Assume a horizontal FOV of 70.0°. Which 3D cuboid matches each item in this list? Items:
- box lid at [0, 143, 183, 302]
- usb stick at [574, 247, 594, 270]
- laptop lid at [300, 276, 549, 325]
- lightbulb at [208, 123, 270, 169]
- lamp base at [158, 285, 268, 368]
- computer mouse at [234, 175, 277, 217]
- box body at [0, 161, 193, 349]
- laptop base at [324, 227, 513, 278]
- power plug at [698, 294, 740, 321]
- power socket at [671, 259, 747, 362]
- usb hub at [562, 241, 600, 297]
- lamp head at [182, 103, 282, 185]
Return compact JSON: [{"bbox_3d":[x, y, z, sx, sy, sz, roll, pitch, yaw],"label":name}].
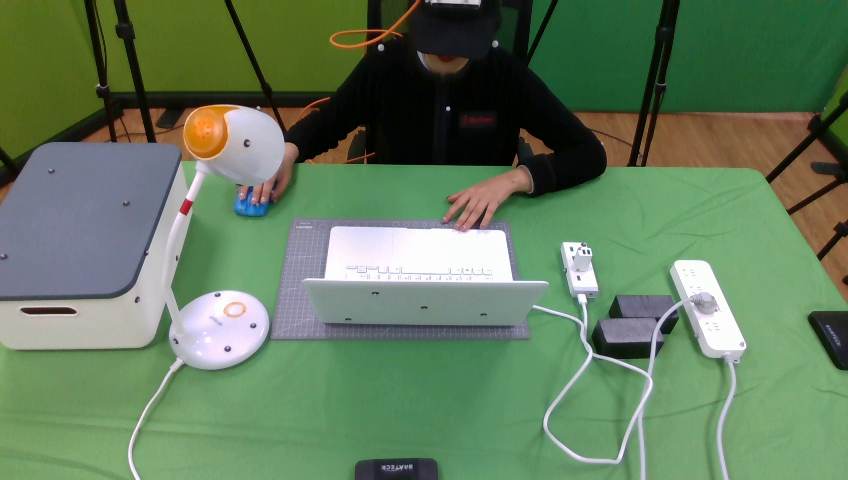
[{"bbox_3d":[-0.567,-0.045,0.999,0.263,0.015,0.369,-1,46,-4],"label":"box lid"},{"bbox_3d":[0.298,0.040,1.135,0.027,0.059,0.021,2,46,-4],"label":"usb stick"},{"bbox_3d":[-0.002,0.100,0.947,0.357,0.242,0.013,1,67,-4],"label":"laptop lid"},{"bbox_3d":[-0.260,-0.136,0.848,0.059,0.108,0.059,-4,77,21],"label":"lightbulb"},{"bbox_3d":[-0.348,0.102,0.963,0.160,0.181,0.178,23,51,18],"label":"lamp base"},{"bbox_3d":[-0.349,-0.097,1.259,0.063,0.041,0.116,9,49,1],"label":"computer mouse"},{"bbox_3d":[-0.570,0.006,1.054,0.254,0.161,0.361,-1,46,-4],"label":"box body"},{"bbox_3d":[-0.009,0.063,1.137,0.354,0.023,0.234,1,42,-3],"label":"laptop base"},{"bbox_3d":[0.515,0.127,1.070,0.035,0.053,0.072,-18,56,-7],"label":"power plug"},{"bbox_3d":[0.517,0.119,1.108,0.072,0.033,0.225,0,46,-2],"label":"power socket"},{"bbox_3d":[0.300,0.055,1.162,0.049,0.025,0.124,2,46,-3],"label":"usb hub"},{"bbox_3d":[-0.271,-0.133,0.825,0.112,0.112,0.123,20,8,15],"label":"lamp head"}]
